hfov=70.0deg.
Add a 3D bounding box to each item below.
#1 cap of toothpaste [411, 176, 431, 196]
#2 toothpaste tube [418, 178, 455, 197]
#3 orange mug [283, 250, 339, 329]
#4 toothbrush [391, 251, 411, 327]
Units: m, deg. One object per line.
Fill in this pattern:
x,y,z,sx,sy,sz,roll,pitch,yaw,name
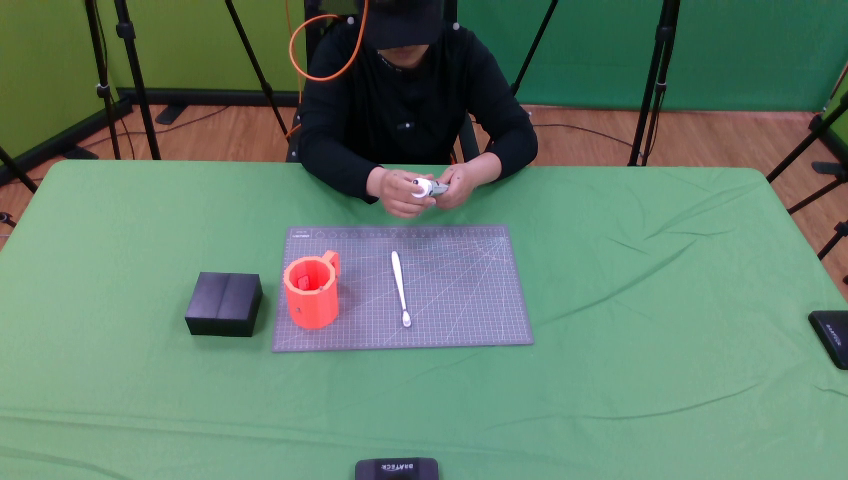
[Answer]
-0.005,-0.095,1.065,0.037,0.037,0.011,21,8,16,cap of toothpaste
0.017,-0.098,1.140,0.055,0.034,0.165,3,3,14,toothpaste tube
-0.186,0.079,1.052,0.083,0.101,0.126,20,52,15,orange mug
-0.044,0.085,1.112,0.014,0.017,0.180,-13,46,0,toothbrush
